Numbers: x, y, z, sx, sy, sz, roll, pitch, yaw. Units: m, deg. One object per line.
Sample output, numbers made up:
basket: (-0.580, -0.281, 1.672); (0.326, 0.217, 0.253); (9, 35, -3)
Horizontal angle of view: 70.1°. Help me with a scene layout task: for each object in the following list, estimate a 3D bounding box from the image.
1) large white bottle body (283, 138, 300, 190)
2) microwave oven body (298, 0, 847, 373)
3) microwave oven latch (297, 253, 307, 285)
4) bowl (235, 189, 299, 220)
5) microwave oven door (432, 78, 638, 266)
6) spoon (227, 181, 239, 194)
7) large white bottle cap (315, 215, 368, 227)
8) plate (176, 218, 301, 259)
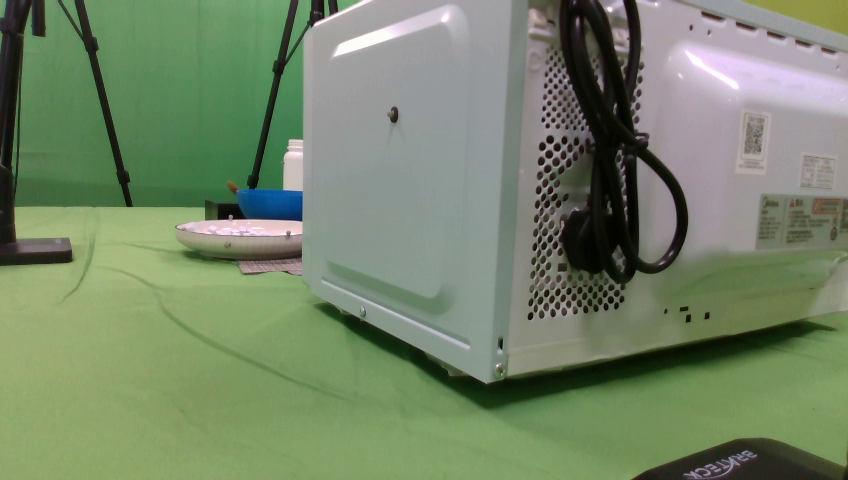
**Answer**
large white bottle body: (-0.265, -0.144, 1.423); (0.131, 0.184, 0.130); (2, 7, 0)
microwave oven body: (0.151, -0.055, 0.543); (0.444, 0.260, 0.324); (-1, 7, -33)
microwave oven latch: (-0.082, 0.027, 0.583); (0.079, 0.029, 0.030); (-1, 7, -33)
bowl: (-0.253, -0.047, 1.064); (0.151, 0.077, 0.151); (3, 8, 0)
microwave oven door: (0.145, -0.106, 0.905); (0.039, 0.243, 0.354); (-4, 10, -40)
spoon: (-0.315, -0.074, 1.235); (0.195, 0.021, 0.041); (24, -9, -37)
large white bottle cap: (-0.177, -0.041, 1.309); (0.115, 0.018, 0.115); (2, 6, 0)
plate: (-0.248, -0.003, 0.877); (0.209, 0.038, 0.209); (1, 8, 0)
